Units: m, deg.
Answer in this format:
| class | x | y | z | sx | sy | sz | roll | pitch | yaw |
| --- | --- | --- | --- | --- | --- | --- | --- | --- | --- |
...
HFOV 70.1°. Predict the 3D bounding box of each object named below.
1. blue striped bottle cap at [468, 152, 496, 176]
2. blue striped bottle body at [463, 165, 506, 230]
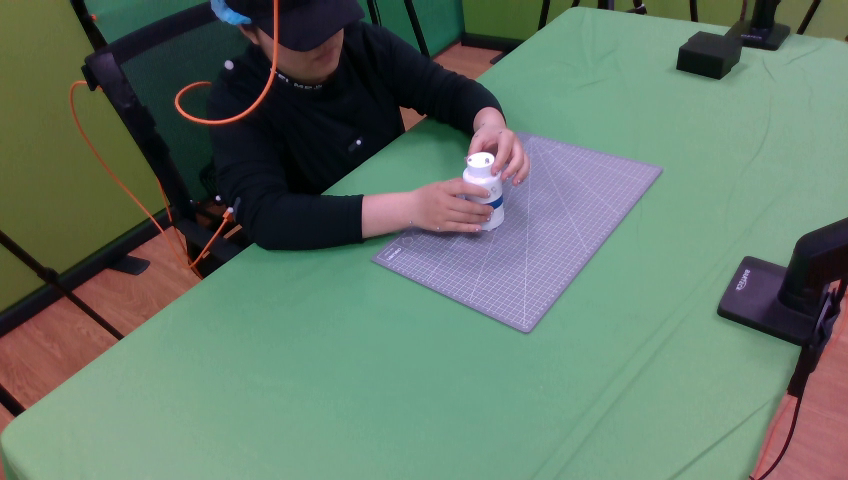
| class | x | y | z | sx | sy | sz | roll | pitch | yaw |
| --- | --- | --- | --- | --- | --- | --- | --- | --- | --- |
| blue striped bottle cap | 0.090 | -0.119 | 0.946 | 0.044 | 0.021 | 0.044 | -6 | 42 | 6 |
| blue striped bottle body | 0.097 | -0.080 | 0.978 | 0.063 | 0.121 | 0.063 | -7 | 40 | 6 |
